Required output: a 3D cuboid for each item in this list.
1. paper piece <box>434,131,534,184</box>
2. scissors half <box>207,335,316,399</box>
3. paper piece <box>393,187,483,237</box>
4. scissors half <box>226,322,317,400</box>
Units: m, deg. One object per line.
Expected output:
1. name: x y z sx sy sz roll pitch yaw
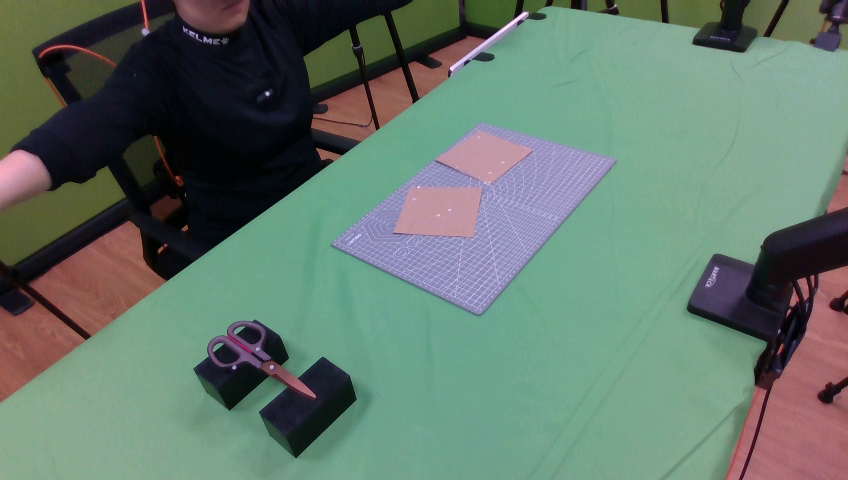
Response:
1. paper piece: 0.114 -0.161 1.150 0.135 0.009 0.139 31 52 32
2. scissors half: -0.201 0.159 0.741 0.174 0.013 0.040 18 40 23
3. paper piece: 0.027 -0.051 1.033 0.135 0.004 0.135 3 41 12
4. scissors half: -0.189 0.149 0.754 0.040 0.013 0.173 -35 49 -31
